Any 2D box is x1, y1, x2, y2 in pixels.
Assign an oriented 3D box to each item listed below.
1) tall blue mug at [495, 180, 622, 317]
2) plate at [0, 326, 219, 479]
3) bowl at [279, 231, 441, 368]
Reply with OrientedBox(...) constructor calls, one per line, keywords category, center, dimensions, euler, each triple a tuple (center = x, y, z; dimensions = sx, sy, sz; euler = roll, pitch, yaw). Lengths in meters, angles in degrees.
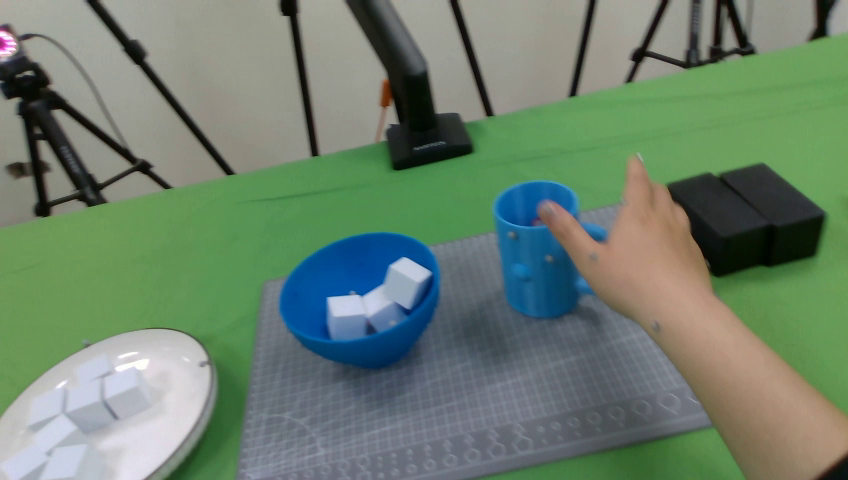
OrientedBox(category="tall blue mug", center=(0.127, 0.008, 0.573), dimensions=(0.107, 0.109, 0.077), euler=(-5, 37, 10))
OrientedBox(category="plate", center=(-0.286, 0.165, 0.551), dimensions=(0.209, 0.038, 0.207), euler=(-7, 37, 6))
OrientedBox(category="bowl", center=(-0.052, 0.067, 0.574), dimensions=(0.151, 0.077, 0.150), euler=(-8, 37, 6))
